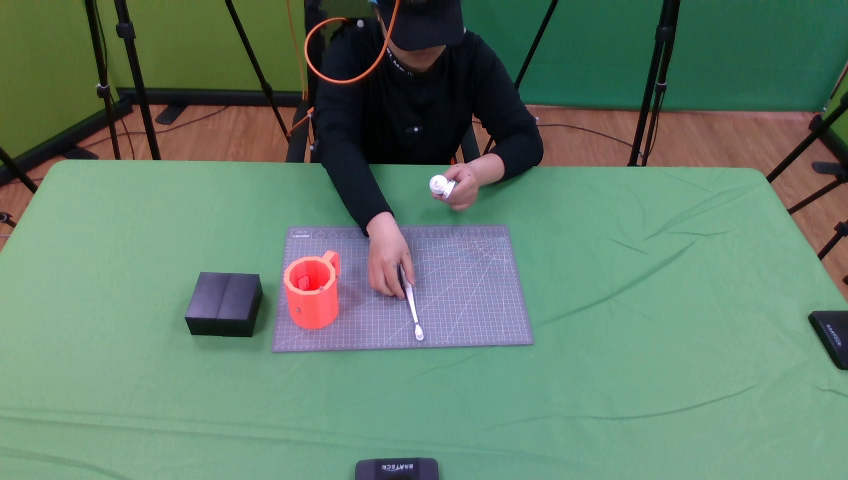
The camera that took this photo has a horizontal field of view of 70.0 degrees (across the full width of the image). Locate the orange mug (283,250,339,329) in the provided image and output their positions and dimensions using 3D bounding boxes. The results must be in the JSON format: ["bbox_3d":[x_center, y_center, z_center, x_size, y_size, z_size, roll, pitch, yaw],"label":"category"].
[{"bbox_3d":[-0.186,0.079,1.052,0.083,0.101,0.126,20,52,15],"label":"orange mug"}]

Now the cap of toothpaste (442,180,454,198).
[{"bbox_3d":[0.042,-0.093,1.091,0.011,0.037,0.037,30,47,-8],"label":"cap of toothpaste"}]

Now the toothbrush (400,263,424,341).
[{"bbox_3d":[-0.025,0.107,1.094,0.014,0.017,0.180,-21,46,5],"label":"toothbrush"}]

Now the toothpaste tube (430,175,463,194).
[{"bbox_3d":[0.041,-0.103,1.181,0.055,0.165,0.034,8,91,10],"label":"toothpaste tube"}]
